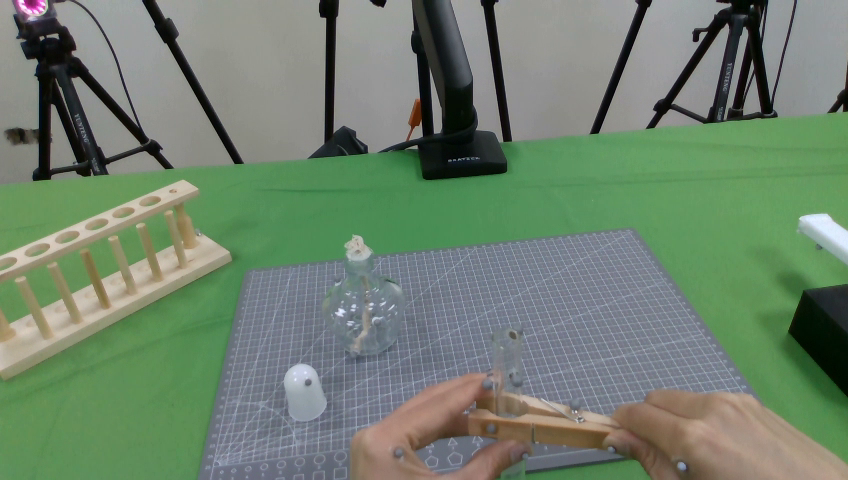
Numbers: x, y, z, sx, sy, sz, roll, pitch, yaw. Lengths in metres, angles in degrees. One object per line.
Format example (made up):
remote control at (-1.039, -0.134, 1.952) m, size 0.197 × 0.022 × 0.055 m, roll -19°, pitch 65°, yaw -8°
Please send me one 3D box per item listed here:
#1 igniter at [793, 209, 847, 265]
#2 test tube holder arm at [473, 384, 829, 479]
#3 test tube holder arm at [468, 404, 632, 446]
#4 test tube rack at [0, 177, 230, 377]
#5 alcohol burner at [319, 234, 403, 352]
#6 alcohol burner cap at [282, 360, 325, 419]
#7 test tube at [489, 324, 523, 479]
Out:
igniter at (0.406, 0.046, 0.501) m, size 0.057 × 0.025 × 0.273 m, roll -7°, pitch 32°, yaw -4°
test tube holder arm at (0.112, 0.102, 0.322) m, size 0.177 × 0.015 × 0.013 m, roll 7°, pitch 35°, yaw 20°
test tube holder arm at (0.068, 0.101, 0.332) m, size 0.087 × 0.015 × 0.010 m, roll 1°, pitch 33°, yaw 12°
test tube rack at (-0.331, 0.028, 0.622) m, size 0.066 × 0.086 × 0.242 m, roll 27°, pitch 45°, yaw 35°
alcohol burner at (-0.058, 0.043, 0.546) m, size 0.078 × 0.120 × 0.077 m, roll -1°, pitch 36°, yaw 1°
alcohol burner cap at (-0.101, 0.120, 0.502) m, size 0.034 × 0.048 × 0.033 m, roll -1°, pitch 35°, yaw 1°
test tube at (0.049, 0.110, 0.351) m, size 0.017 × 0.151 × 0.017 m, roll -5°, pitch 33°, yaw 4°
